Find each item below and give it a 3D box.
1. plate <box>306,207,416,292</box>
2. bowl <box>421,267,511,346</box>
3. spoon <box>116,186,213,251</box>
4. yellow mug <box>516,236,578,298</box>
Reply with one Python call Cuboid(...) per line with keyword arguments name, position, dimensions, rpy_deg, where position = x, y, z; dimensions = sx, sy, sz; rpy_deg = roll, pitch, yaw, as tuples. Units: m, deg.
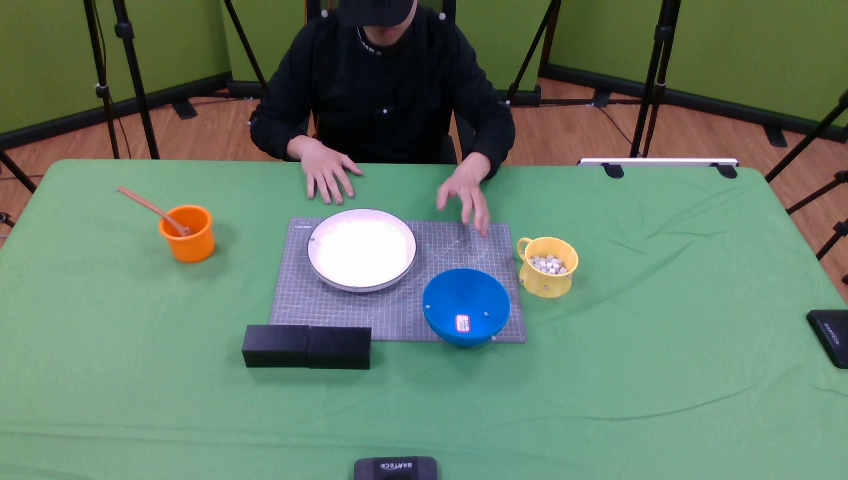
Cuboid(name="plate", position=(-0.119, 0.021, 1.153), dimensions=(0.209, 0.038, 0.208), rpy_deg=(2, 46, -2))
Cuboid(name="bowl", position=(0.068, 0.128, 1.037), dimensions=(0.151, 0.077, 0.150), rpy_deg=(3, 46, -2))
Cuboid(name="spoon", position=(-0.474, -0.041, 1.112), dimensions=(0.021, 0.195, 0.041), rpy_deg=(-31, 31, 29))
Cuboid(name="yellow mug", position=(0.223, 0.041, 1.145), dimensions=(0.100, 0.064, 0.130), rpy_deg=(-30, 54, -29))
